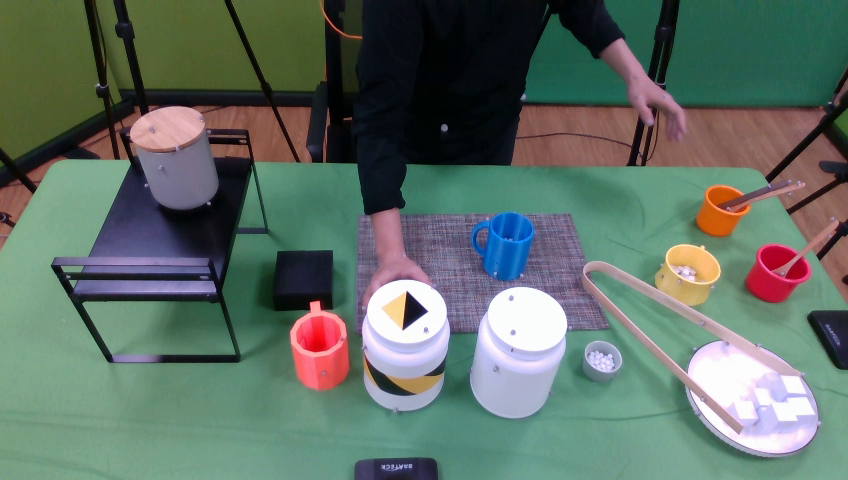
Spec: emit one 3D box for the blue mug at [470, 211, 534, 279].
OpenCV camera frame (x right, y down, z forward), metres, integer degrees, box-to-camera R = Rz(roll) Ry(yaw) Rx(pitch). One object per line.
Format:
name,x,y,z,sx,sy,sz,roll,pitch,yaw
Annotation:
blue mug,0.141,0.005,1.140,0.116,0.106,0.082,18,48,13

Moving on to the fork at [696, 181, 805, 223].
fork,0.659,-0.077,1.232,0.207,0.019,0.028,-26,35,34

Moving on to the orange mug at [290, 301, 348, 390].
orange mug,-0.170,0.162,0.976,0.083,0.101,0.125,-7,52,-11

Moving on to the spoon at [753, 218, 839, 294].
spoon,0.700,0.031,1.138,0.194,0.022,0.041,-47,55,14

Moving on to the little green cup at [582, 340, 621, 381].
little green cup,0.295,0.204,1.015,0.061,0.039,0.061,2,45,-2

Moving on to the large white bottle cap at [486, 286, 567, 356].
large white bottle cap,0.147,0.114,0.869,0.115,0.018,0.114,3,46,-3

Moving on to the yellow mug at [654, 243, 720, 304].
yellow mug,0.504,0.054,1.154,0.099,0.064,0.130,28,49,22

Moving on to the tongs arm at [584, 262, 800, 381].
tongs arm,0.451,0.137,1.064,0.051,0.027,0.382,-34,50,-27

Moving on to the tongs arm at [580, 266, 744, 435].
tongs arm,0.384,0.173,1.028,0.028,0.028,0.385,-25,46,-15

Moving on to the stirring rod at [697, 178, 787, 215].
stirring rod,0.650,-0.088,1.245,0.006,0.176,0.014,29,50,-39

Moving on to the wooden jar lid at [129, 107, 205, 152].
wooden jar lid,-0.385,-0.163,0.915,0.108,0.021,0.107,2,47,-2

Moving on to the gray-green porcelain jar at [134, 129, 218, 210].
gray-green porcelain jar,-0.388,-0.120,0.960,0.106,0.127,0.105,2,46,-2

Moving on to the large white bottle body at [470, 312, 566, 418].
large white bottle body,0.143,0.173,0.930,0.131,0.185,0.130,2,46,-2

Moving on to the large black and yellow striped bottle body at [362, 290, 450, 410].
large black and yellow striped bottle body,-0.029,0.163,0.928,0.131,0.185,0.130,2,47,-2

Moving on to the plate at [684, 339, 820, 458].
plate,0.523,0.256,0.982,0.208,0.039,0.206,2,46,-2

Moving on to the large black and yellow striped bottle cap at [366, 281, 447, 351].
large black and yellow striped bottle cap,-0.025,0.106,0.866,0.115,0.019,0.114,2,46,-1
